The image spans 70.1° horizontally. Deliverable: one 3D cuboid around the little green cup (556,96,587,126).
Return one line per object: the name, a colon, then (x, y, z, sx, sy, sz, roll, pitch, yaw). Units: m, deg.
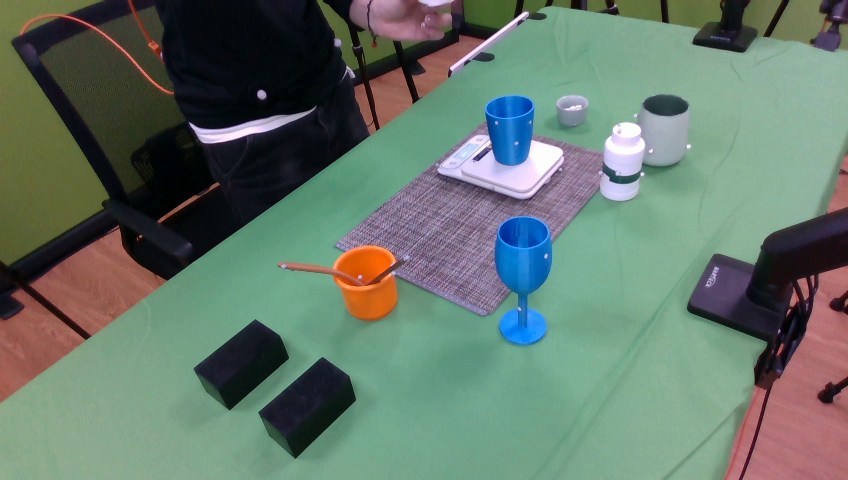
little green cup: (0.295, -0.258, 1.214, 0.061, 0.039, 0.061, -4, 42, 4)

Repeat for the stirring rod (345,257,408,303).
stirring rod: (-0.067, 0.057, 0.815, 0.014, 0.175, 0.006, -25, 82, -38)

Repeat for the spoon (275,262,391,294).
spoon: (-0.120, 0.050, 0.830, 0.041, 0.195, 0.021, 31, 97, 45)

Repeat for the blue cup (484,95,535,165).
blue cup: (0.150, -0.188, 1.053, 0.092, 0.100, 0.092, -6, 39, 5)

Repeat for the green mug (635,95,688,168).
green mug: (0.421, -0.201, 1.081, 0.092, 0.105, 0.125, 6, 42, 15)

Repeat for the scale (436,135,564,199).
scale: (0.137, -0.142, 1.101, 0.199, 0.032, 0.149, 22, 48, 30)

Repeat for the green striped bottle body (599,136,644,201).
green striped bottle body: (0.326, -0.128, 0.997, 0.063, 0.120, 0.063, -4, 41, 4)

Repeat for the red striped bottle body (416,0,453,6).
red striped bottle body: (0.012, -0.403, 0.859, 0.063, 0.120, 0.062, -3, 46, 4)

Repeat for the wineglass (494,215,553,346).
wineglass: (0.126, 0.055, 0.770, 0.074, 0.173, 0.073, -4, 40, 4)

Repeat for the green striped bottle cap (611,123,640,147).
green striped bottle cap: (0.322, -0.168, 0.963, 0.044, 0.020, 0.044, -3, 41, 4)
